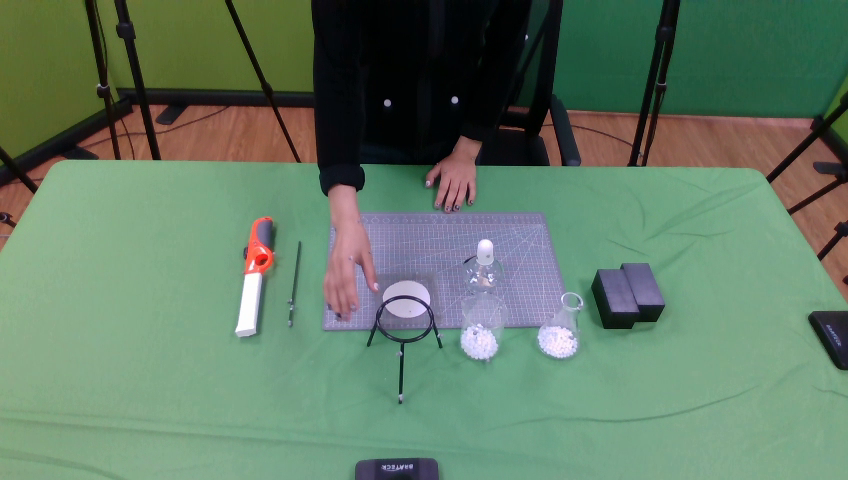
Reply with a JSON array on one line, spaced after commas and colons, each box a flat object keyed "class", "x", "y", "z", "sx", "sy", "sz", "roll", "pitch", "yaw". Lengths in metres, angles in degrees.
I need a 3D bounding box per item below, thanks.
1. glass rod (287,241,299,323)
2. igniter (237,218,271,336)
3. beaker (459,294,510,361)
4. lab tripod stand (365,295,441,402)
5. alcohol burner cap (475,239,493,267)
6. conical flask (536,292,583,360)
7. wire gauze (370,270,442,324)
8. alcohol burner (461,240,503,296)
[{"class": "glass rod", "x": -0.241, "y": 0.072, "z": 1.120, "sx": 0.008, "sy": 0.008, "sz": 0.198, "roll": -1, "pitch": 46, "yaw": -4}, {"class": "igniter", "x": -0.312, "y": 0.058, "z": 1.115, "sx": 0.057, "sy": 0.025, "sz": 0.274, "roll": -9, "pitch": 46, "yaw": 1}, {"class": "beaker", "x": 0.095, "y": 0.147, "z": 1.012, "sx": 0.083, "sy": 0.101, "sz": 0.074, "roll": 26, "pitch": 49, "yaw": 21}, {"class": "lab tripod stand", "x": -0.031, "y": 0.160, "z": 0.966, "sx": 0.148, "sy": 0.132, "sz": 0.147, "roll": 3, "pitch": 44, "yaw": -2}, {"class": "alcohol burner cap", "x": 0.107, "y": 0.020, "z": 1.072, "sx": 0.034, "sy": 0.048, "sz": 0.033, "roll": -2, "pitch": 45, "yaw": 2}, {"class": "conical flask", "x": 0.234, "y": 0.139, "z": 1.015, "sx": 0.075, "sy": 0.122, "sz": 0.075, "roll": 2, "pitch": 46, "yaw": -2}, {"class": "wire gauze", "x": -0.035, "y": 0.105, "z": 1.103, "sx": 0.125, "sy": 0.011, "sz": 0.120, "roll": -3, "pitch": 46, "yaw": -5}, {"class": "alcohol burner", "x": 0.106, "y": 0.045, "z": 1.098, "sx": 0.078, "sy": 0.120, "sz": 0.077, "roll": 2, "pitch": 44, "yaw": -1}]
